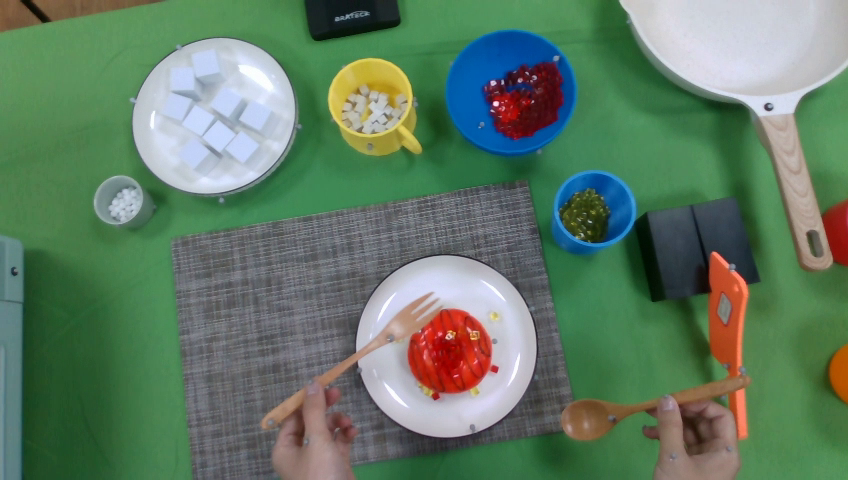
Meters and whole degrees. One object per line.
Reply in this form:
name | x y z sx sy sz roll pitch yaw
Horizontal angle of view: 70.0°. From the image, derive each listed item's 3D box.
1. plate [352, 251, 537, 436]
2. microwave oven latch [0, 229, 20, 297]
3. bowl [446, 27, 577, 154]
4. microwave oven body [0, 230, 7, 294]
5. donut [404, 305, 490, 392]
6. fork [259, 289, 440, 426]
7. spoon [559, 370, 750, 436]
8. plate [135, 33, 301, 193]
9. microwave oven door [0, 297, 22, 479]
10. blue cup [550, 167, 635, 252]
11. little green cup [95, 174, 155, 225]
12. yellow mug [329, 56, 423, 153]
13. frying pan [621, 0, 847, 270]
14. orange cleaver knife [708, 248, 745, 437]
plate | 0.023 0.117 0.699 0.209 0.038 0.208 0 81 3
microwave oven latch | -0.506 0.028 0.726 0.030 0.029 0.079 -4 81 2
bowl | 0.102 -0.167 0.728 0.151 0.077 0.151 0 81 3
microwave oven body | -0.640 0.199 0.605 0.326 0.261 0.440 -6 80 1
donut | 0.026 0.123 0.686 0.099 0.048 0.099 0 83 4
fork | -0.071 0.114 0.591 0.207 0.018 0.028 -34 86 -16
spoon | 0.215 0.156 0.586 0.193 0.022 0.041 -29 65 40
plate | -0.255 -0.158 0.765 0.207 0.039 0.207 -1 80 3
microwave oven door | -0.491 0.224 0.588 0.039 0.245 0.354 -7 79 2
blue cup | 0.182 -0.026 0.687 0.092 0.100 0.092 0 78 2
little green cup | -0.367 -0.048 0.750 0.061 0.039 0.061 0 81 2
yellow mug | -0.049 -0.154 0.740 0.130 0.064 0.100 43 85 8
frying pan | 0.390 -0.200 0.705 0.307 0.103 0.484 -4 72 3
orange cleaver knife | 0.331 0.114 0.665 0.012 0.076 0.212 -10 108 2
